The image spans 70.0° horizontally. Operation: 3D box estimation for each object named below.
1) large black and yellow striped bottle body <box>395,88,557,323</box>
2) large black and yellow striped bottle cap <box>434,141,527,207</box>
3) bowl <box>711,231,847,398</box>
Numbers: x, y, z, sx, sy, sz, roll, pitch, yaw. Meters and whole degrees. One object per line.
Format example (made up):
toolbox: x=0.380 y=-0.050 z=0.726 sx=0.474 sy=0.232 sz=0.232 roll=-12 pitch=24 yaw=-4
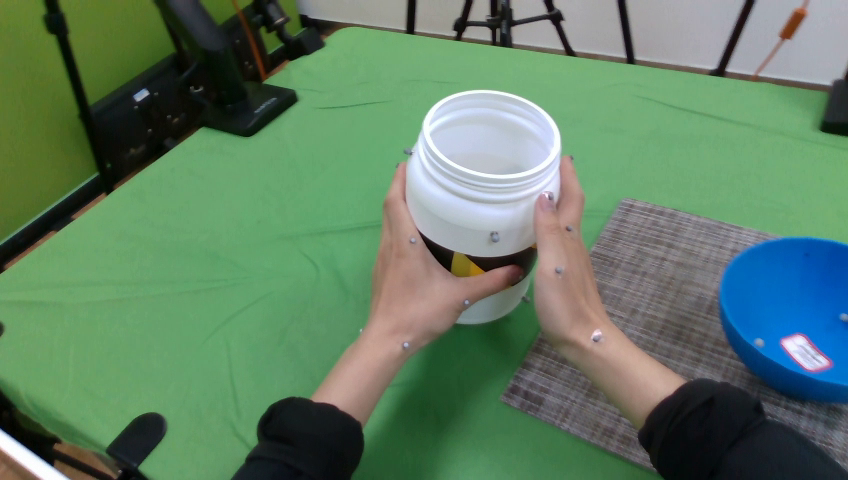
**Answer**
large black and yellow striped bottle body: x=0.042 y=-0.027 z=0.538 sx=0.131 sy=0.185 sz=0.129 roll=3 pitch=49 yaw=-3
large black and yellow striped bottle cap: x=0.070 y=-0.084 z=0.749 sx=0.115 sy=0.019 sz=0.114 roll=-4 pitch=43 yaw=5
bowl: x=0.305 y=0.071 z=0.486 sx=0.151 sy=0.077 sz=0.150 roll=-5 pitch=43 yaw=5
